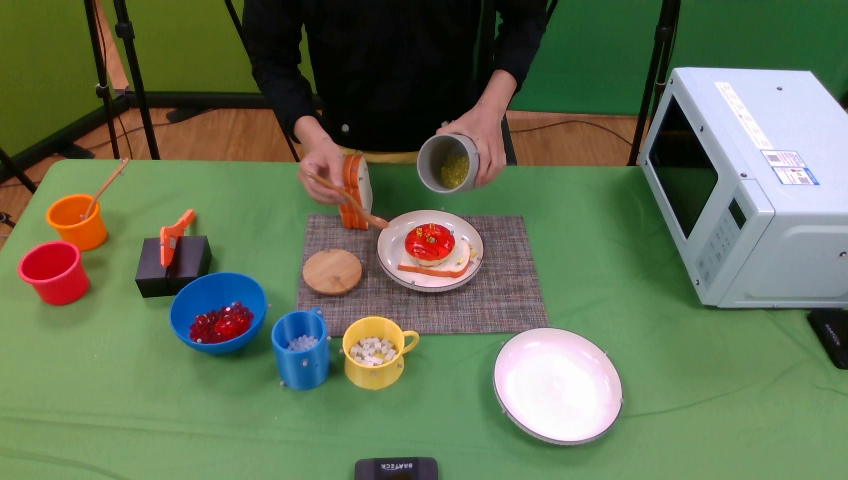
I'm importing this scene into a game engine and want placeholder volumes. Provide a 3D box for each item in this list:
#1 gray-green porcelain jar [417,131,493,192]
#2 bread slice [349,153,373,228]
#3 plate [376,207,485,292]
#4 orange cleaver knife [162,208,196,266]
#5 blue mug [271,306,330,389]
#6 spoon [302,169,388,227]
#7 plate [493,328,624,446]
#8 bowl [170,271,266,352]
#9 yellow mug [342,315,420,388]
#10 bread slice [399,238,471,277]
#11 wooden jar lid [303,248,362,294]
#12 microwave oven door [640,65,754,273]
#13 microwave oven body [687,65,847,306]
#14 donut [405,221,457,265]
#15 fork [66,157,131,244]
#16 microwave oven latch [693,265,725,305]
[{"bbox_3d":[0.062,-0.142,1.099,0.105,0.106,0.126,27,17,20],"label":"gray-green porcelain jar"},{"bbox_3d":[-0.125,-0.104,1.207,0.018,0.135,0.106,0,48,7],"label":"bread slice"},{"bbox_3d":[0.012,0.020,1.158,0.209,0.038,0.208,2,47,-2],"label":"plate"},{"bbox_3d":[-0.454,-0.010,1.129,0.012,0.077,0.210,-2,17,-6],"label":"orange cleaver knife"},{"bbox_3d":[-0.188,0.163,0.969,0.082,0.106,0.116,15,47,10],"label":"blue mug"},{"bbox_3d":[-0.128,-0.069,1.001,0.021,0.195,0.041,-46,43,6],"label":"spoon"},{"bbox_3d":[0.213,0.236,0.974,0.208,0.039,0.206,2,46,-2],"label":"plate"},{"bbox_3d":[-0.333,0.132,1.006,0.151,0.077,0.150,2,46,-2],"label":"bowl"},{"bbox_3d":[-0.068,0.177,0.990,0.131,0.064,0.099,-15,50,-19],"label":"yellow mug"},{"bbox_3d":[0.025,0.025,1.160,0.131,0.019,0.104,7,47,7],"label":"bread slice"},{"bbox_3d":[-0.169,0.059,1.122,0.108,0.021,0.107,2,45,-2],"label":"wooden jar lid"},{"bbox_3d":[0.523,-0.147,1.193,0.039,0.245,0.353,0,47,-3],"label":"microwave oven door"},{"bbox_3d":[0.669,-0.111,1.176,0.326,0.261,0.439,0,46,-3],"label":"microwave oven body"},{"bbox_3d":[0.014,0.004,1.137,0.099,0.048,0.098,0,45,1],"label":"donut"},{"bbox_3d":[-0.608,-0.074,1.132,0.207,0.019,0.028,-52,49,10],"label":"fork"},{"bbox_3d":[0.522,0.081,1.115,0.030,0.029,0.078,2,46,-1],"label":"microwave oven latch"}]
